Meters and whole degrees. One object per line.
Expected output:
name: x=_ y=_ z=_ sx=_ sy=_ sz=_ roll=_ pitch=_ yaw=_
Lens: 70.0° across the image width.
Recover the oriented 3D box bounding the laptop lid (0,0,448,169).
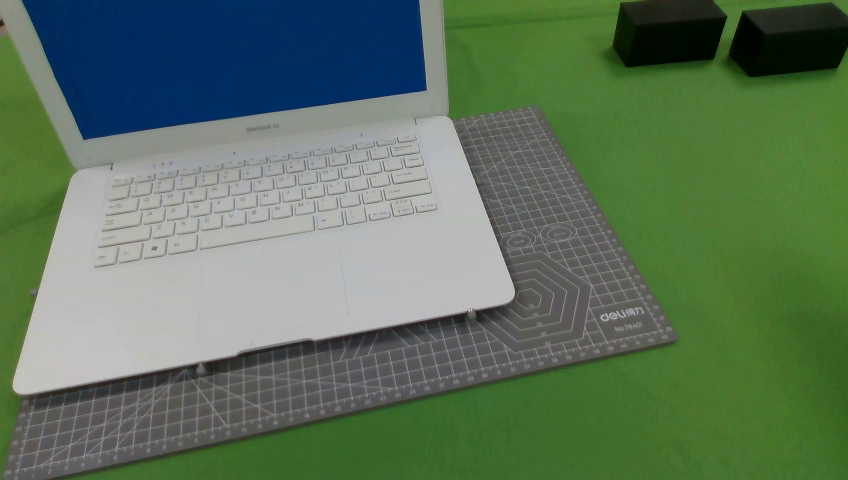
laptop lid: x=-0.158 y=-0.185 z=0.508 sx=0.357 sy=0.244 sz=0.013 roll=-11 pitch=37 yaw=-5

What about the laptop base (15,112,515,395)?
laptop base: x=-0.125 y=-0.006 z=0.501 sx=0.355 sy=0.023 sz=0.233 roll=-10 pitch=51 yaw=-6
